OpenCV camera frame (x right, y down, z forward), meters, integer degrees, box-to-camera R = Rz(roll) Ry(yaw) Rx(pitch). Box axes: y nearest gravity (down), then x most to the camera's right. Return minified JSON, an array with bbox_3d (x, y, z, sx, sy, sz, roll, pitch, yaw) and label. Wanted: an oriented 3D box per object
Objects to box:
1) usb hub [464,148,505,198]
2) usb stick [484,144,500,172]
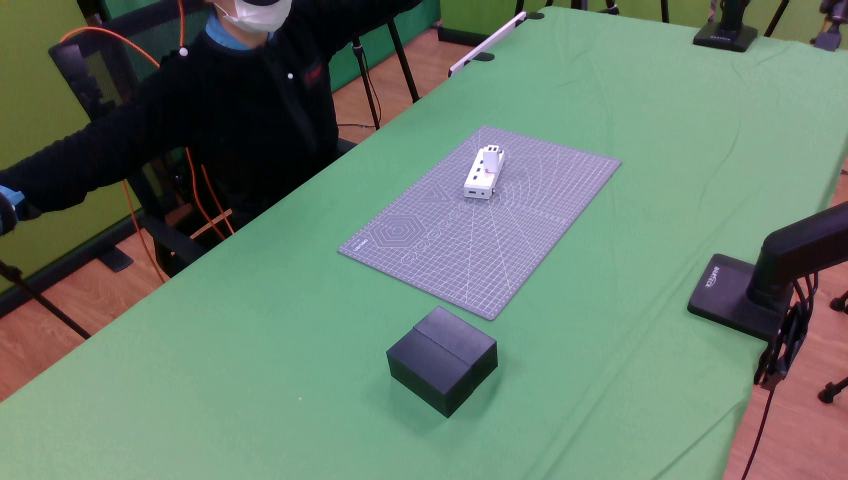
[{"bbox_3d":[0.110,-0.121,1.087,0.049,0.025,0.125,8,43,16],"label":"usb hub"},{"bbox_3d":[0.119,-0.137,1.058,0.027,0.059,0.021,9,45,14],"label":"usb stick"}]
